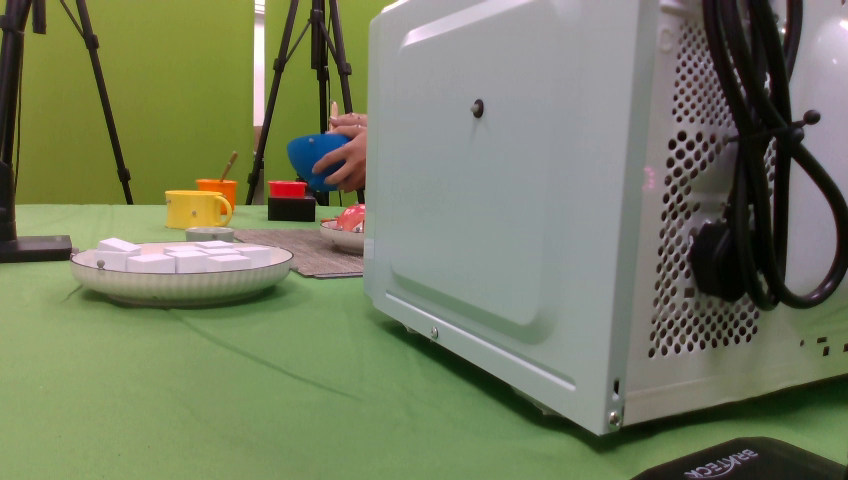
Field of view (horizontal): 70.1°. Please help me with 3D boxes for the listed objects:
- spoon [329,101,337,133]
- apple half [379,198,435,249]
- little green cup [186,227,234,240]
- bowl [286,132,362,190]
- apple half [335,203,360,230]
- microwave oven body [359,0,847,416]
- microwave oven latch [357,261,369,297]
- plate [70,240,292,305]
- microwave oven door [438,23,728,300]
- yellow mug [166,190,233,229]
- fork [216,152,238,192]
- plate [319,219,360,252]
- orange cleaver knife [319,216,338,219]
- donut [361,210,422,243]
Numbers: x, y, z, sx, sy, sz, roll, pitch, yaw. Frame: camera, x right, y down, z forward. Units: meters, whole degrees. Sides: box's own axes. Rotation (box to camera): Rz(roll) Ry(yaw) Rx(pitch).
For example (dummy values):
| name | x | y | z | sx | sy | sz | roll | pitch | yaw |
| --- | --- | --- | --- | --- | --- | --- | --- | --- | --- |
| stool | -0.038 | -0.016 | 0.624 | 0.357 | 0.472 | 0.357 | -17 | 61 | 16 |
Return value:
| name | x | y | z | sx | sy | sz | roll | pitch | yaw |
| --- | --- | --- | --- | --- | --- | --- | --- | --- | --- |
| spoon | -0.186 | -0.217 | 1.212 | 0.042 | 0.193 | 0.021 | 20 | -40 | -23 |
| apple half | -0.020 | -0.030 | 0.891 | 0.081 | 0.053 | 0.074 | -2 | 49 | -26 |
| little green cup | -0.284 | 0.005 | 0.805 | 0.061 | 0.038 | 0.061 | 2 | 8 | 0 |
| bowl | -0.180 | -0.139 | 1.125 | 0.151 | 0.076 | 0.151 | -4 | -9 | 0 |
| apple half | -0.116 | -0.038 | 0.960 | 0.081 | 0.033 | 0.081 | -38 | 8 | 7 |
| microwave oven body | 0.211 | -0.047 | 0.474 | 0.444 | 0.260 | 0.324 | -1 | 7 | -28 |
| microwave oven latch | -0.019 | 0.033 | 0.530 | 0.079 | 0.029 | 0.030 | -1 | 7 | -27 |
| plate | -0.242 | 0.031 | 0.618 | 0.208 | 0.039 | 0.207 | 2 | 8 | 0 |
| microwave oven door | 0.181 | -0.072 | 0.621 | 0.358 | 0.243 | 0.039 | -2 | 8 | -29 |
| yellow mug | -0.415 | -0.057 | 1.132 | 0.130 | 0.064 | 0.100 | 6 | 8 | 16 |
| fork | -0.455 | -0.132 | 1.367 | 0.028 | 0.018 | 0.207 | -3 | -35 | -38 |
| plate | -0.059 | -0.007 | 0.939 | 0.209 | 0.038 | 0.209 | 3 | 8 | 0 |
| orange cleaver knife | -0.142 | -0.057 | 1.394 | 0.077 | 0.012 | 0.212 | 2 | 7 | 44 |
| donut | -0.051 | -0.020 | 0.959 | 0.099 | 0.048 | 0.099 | 7 | 8 | -1 |
